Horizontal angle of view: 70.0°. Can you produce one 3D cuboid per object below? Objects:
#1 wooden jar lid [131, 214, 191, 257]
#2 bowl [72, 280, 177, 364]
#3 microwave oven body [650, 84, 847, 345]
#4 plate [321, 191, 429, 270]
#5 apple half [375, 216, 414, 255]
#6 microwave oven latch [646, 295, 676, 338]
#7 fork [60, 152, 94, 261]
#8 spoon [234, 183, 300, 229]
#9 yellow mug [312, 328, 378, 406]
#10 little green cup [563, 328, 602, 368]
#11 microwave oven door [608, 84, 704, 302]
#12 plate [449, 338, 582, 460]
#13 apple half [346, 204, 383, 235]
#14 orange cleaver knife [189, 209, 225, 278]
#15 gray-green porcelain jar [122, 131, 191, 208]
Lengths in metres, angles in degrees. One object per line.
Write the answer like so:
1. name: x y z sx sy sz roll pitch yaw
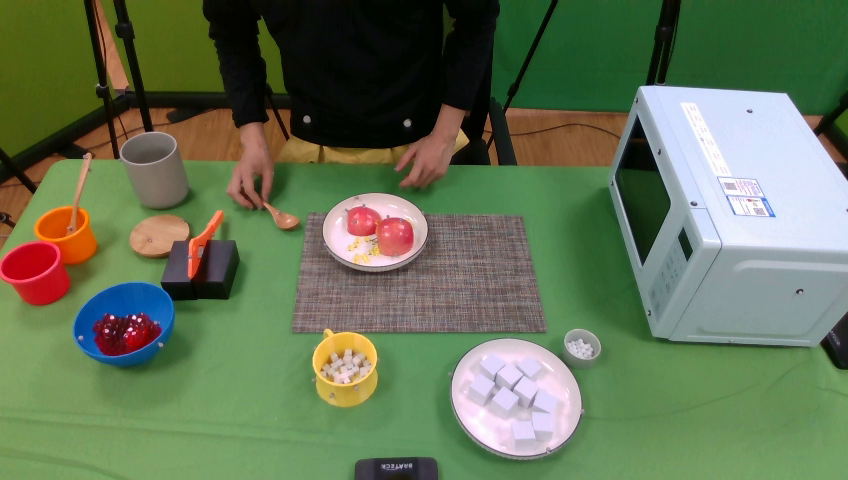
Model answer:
1. wooden jar lid: -0.504 -0.008 1.167 0.108 0.021 0.107 3 46 -3
2. bowl: -0.473 0.147 0.982 0.151 0.077 0.150 2 46 -2
3. microwave oven body: 0.569 -0.054 1.116 0.326 0.261 0.439 2 46 -1
4. plate: -0.094 -0.015 1.185 0.209 0.038 0.208 2 46 -2
5. apple half: -0.056 -0.017 1.169 0.075 0.053 0.080 0 45 -7
6. microwave oven latch: 0.413 0.133 1.061 0.030 0.029 0.078 4 46 1
7. fork: -0.638 -0.063 1.119 0.028 0.018 0.207 12 90 9
8. spoon: -0.325 -0.075 1.241 0.193 0.022 0.041 34 68 23
9. yellow mug: -0.132 0.193 0.971 0.100 0.064 0.130 -22 51 -22
10. little green cup: 0.266 0.185 1.025 0.061 0.039 0.061 1 45 -1
11. microwave oven door: 0.424 -0.096 1.138 0.039 0.245 0.353 2 46 -1
12. plate: 0.141 0.251 0.956 0.208 0.039 0.206 2 46 -2
13. apple half: -0.119 -0.049 1.207 0.081 0.033 0.081 2 50 -2
14. orange cleaver knife: -0.401 0.002 1.122 0.012 0.077 0.210 3 22 -4
15. gray-green porcelain jar: -0.531 -0.136 1.213 0.106 0.127 0.105 2 47 -2
